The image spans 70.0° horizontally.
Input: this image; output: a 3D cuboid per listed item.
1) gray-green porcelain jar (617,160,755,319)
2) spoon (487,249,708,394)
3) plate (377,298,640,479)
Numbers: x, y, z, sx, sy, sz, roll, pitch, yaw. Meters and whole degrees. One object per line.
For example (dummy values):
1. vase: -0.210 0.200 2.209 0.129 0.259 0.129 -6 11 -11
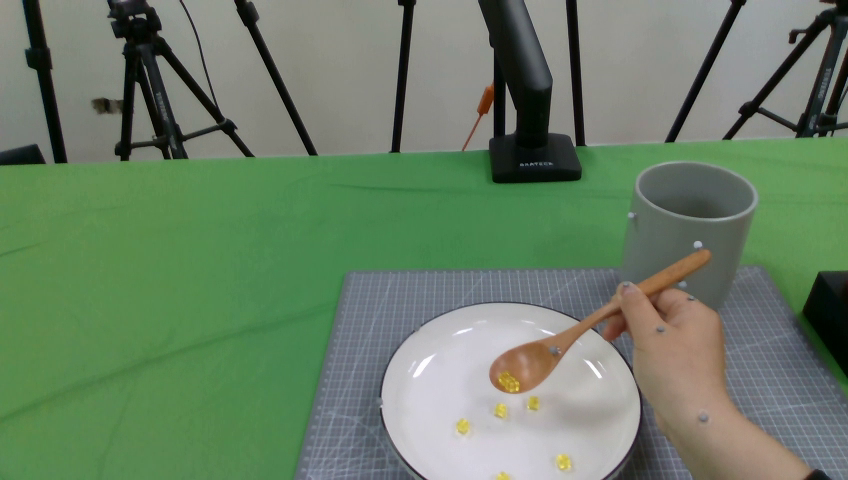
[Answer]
1. gray-green porcelain jar: 0.244 0.003 0.581 0.106 0.127 0.105 -2 36 2
2. spoon: 0.133 0.063 0.470 0.194 0.022 0.041 -36 43 14
3. plate: 0.067 0.130 0.498 0.207 0.039 0.205 -2 36 2
